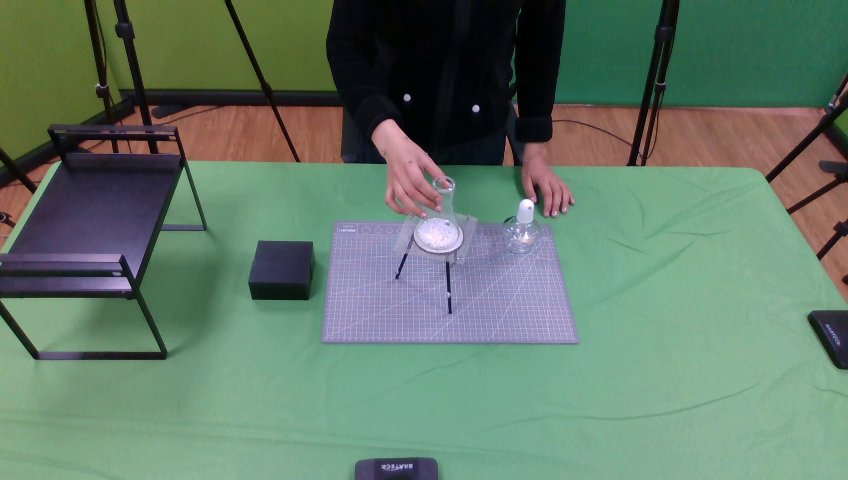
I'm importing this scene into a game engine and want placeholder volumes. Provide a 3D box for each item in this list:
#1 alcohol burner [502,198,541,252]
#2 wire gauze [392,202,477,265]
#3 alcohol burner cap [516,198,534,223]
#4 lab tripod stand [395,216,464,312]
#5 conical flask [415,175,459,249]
[{"bbox_3d":[0.192,-0.034,1.178,0.078,0.119,0.077,2,44,-2],"label":"alcohol burner"},{"bbox_3d":[0.021,-0.011,1.037,0.121,0.011,0.124,13,49,9],"label":"wire gauze"},{"bbox_3d":[0.194,-0.058,1.152,0.034,0.048,0.033,-1,50,1],"label":"alcohol burner cap"},{"bbox_3d":[0.023,0.037,1.084,0.148,0.132,0.147,4,46,-4],"label":"lab tripod stand"},{"bbox_3d":[0.026,-0.049,0.993,0.075,0.122,0.075,3,47,-3],"label":"conical flask"}]
